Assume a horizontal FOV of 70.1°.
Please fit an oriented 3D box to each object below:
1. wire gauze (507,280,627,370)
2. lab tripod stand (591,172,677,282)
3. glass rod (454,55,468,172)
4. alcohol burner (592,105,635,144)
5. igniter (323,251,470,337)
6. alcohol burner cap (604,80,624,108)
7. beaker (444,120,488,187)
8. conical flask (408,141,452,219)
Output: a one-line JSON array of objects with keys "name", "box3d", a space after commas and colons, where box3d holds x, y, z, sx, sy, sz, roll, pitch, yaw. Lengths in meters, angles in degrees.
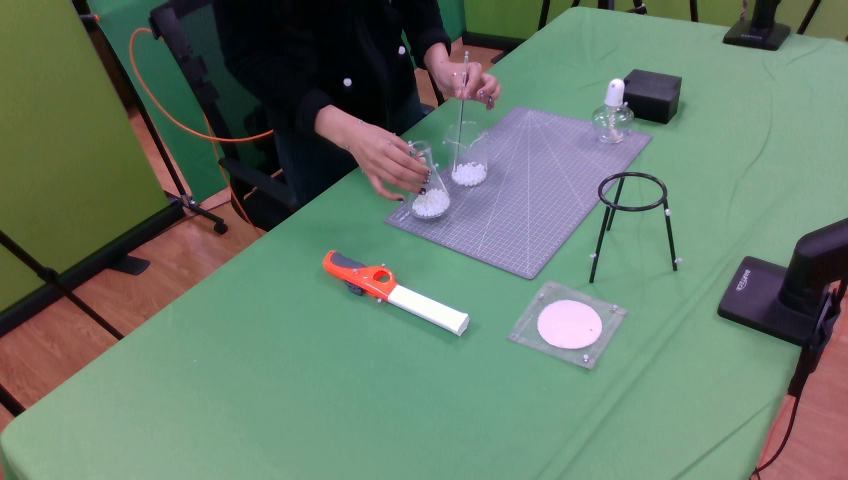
[{"name": "wire gauze", "box3d": [0.196, 0.114, 0.823, 0.120, 0.011, 0.125, 20, 50, 31]}, {"name": "lab tripod stand", "box3d": [0.292, -0.022, 0.867, 0.148, 0.132, 0.147, -7, 39, 6]}, {"name": "glass rod", "box3d": [0.063, -0.218, 1.054, 0.008, 0.200, 0.008, 5, 16, -1]}, {"name": "alcohol burner", "box3d": [0.353, -0.242, 1.126, 0.078, 0.119, 0.077, -5, 38, 5]}, {"name": "igniter", "box3d": [-0.052, 0.075, 0.901, 0.274, 0.025, 0.057, 22, 60, 32]}, {"name": "alcohol burner cap", "box3d": [0.350, -0.269, 1.102, 0.034, 0.048, 0.033, -2, 46, 3]}, {"name": "beaker", "box3d": [0.078, -0.150, 1.083, 0.074, 0.101, 0.083, -9, 40, 1]}, {"name": "conical flask", "box3d": [0.003, -0.101, 0.992, 0.075, 0.122, 0.075, -6, 38, 6]}]
